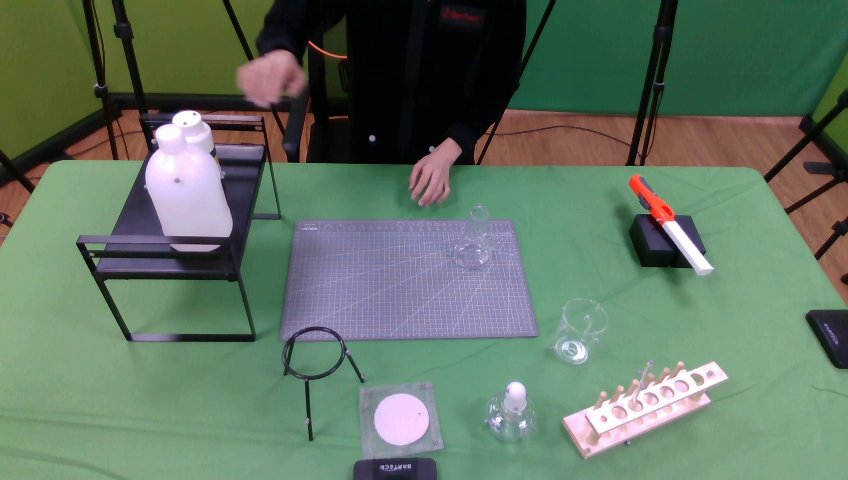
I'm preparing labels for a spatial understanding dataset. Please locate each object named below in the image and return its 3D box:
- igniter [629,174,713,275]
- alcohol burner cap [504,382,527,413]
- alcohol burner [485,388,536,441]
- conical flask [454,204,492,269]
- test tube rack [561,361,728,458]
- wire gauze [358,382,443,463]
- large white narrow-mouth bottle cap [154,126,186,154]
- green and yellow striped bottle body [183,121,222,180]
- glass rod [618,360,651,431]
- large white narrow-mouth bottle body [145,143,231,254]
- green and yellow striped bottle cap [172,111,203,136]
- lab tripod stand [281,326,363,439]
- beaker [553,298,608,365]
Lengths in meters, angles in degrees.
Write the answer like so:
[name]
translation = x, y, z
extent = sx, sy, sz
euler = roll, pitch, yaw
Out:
[igniter]
translation = 0.481, -0.040, 1.202
extent = 0.057, 0.025, 0.274
euler = -1, 46, -21
[alcohol burner cap]
translation = 0.133, 0.225, 0.877
extent = 0.034, 0.048, 0.033
euler = -4, 47, 5
[alcohol burner]
translation = 0.131, 0.249, 0.904
extent = 0.078, 0.120, 0.077
euler = 1, 48, -1
[conical flask]
translation = 0.097, -0.009, 1.140
extent = 0.075, 0.122, 0.075
euler = 2, 46, -2
[test tube rack]
translation = 0.341, 0.248, 0.940
extent = 0.243, 0.085, 0.066
euler = -15, 49, -18
[wire gauze]
translation = -0.039, 0.276, 0.937
extent = 0.121, 0.011, 0.124
euler = -4, 47, -7
[large white narrow-mouth bottle cap]
translation = -0.340, -0.134, 0.812
extent = 0.038, 0.024, 0.037
euler = 2, 48, -2
[green and yellow striped bottle body]
translation = -0.375, -0.149, 0.995
extent = 0.063, 0.120, 0.063
euler = 2, 46, -2
[glass rod]
translation = 0.298, 0.226, 0.865
extent = 0.008, 0.201, 0.008
euler = -1, 48, 2
[large white narrow-mouth bottle body]
translation = -0.345, -0.076, 0.877
extent = 0.102, 0.195, 0.101
euler = 2, 48, -2
[green and yellow striped bottle cap]
translation = -0.374, -0.185, 0.958
extent = 0.045, 0.020, 0.045
euler = 3, 46, -3
[lab tripod stand]
translation = -0.166, 0.202, 0.913
extent = 0.148, 0.132, 0.147
euler = 1, 47, -1
[beaker]
translation = 0.260, 0.154, 1.015
extent = 0.073, 0.101, 0.084
euler = 37, 54, 27
